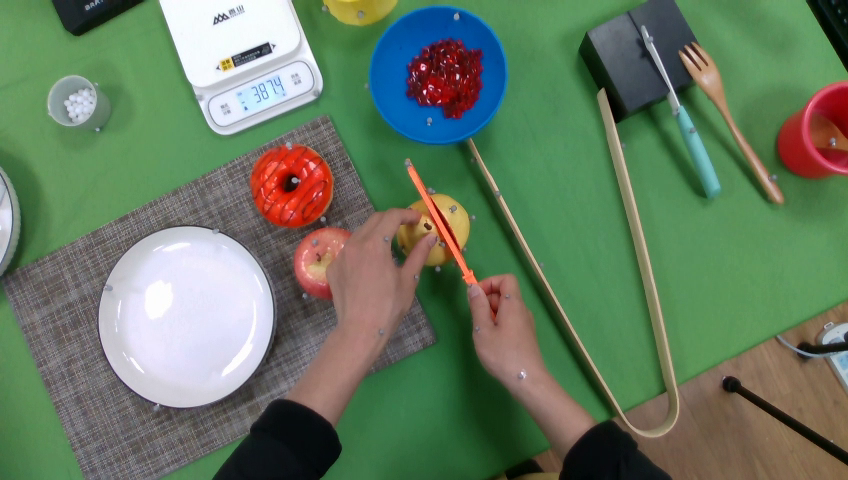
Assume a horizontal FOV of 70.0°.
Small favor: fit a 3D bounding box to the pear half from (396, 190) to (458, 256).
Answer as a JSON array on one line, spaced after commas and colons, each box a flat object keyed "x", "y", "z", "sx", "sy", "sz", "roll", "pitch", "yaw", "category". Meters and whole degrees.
[{"x": -0.004, "y": -0.013, "z": 0.657, "sx": 0.056, "sy": 0.110, "sz": 0.076, "roll": -42, "pitch": 80, "yaw": 8, "category": "pear half"}]

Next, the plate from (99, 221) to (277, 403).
[{"x": -0.269, "y": 0.082, "z": 0.704, "sx": 0.209, "sy": 0.038, "sz": 0.208, "roll": 0, "pitch": 87, "yaw": 4, "category": "plate"}]

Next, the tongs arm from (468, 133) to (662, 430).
[{"x": 0.156, "y": 0.041, "z": 0.683, "sx": 0.051, "sy": 0.026, "sz": 0.384, "roll": -26, "pitch": 86, "yaw": -1, "category": "tongs arm"}]

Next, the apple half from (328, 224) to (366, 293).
[{"x": -0.080, "y": 0.023, "z": 0.676, "sx": 0.033, "sy": 0.081, "sz": 0.081, "roll": 7, "pitch": 87, "yaw": 8, "category": "apple half"}]

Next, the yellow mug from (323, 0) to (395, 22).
[{"x": -0.094, "y": -0.323, "z": 0.704, "sx": 0.130, "sy": 0.064, "sz": 0.100, "roll": 31, "pitch": 90, "yaw": 6, "category": "yellow mug"}]

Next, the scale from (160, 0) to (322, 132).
[{"x": -0.221, "y": -0.245, "z": 0.726, "sx": 0.148, "sy": 0.031, "sz": 0.200, "roll": -22, "pitch": 86, "yaw": 3, "category": "scale"}]

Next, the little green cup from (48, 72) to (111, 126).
[{"x": -0.414, "y": -0.167, "z": 0.732, "sx": 0.061, "sy": 0.039, "sz": 0.061, "roll": 0, "pitch": 86, "yaw": 5, "category": "little green cup"}]

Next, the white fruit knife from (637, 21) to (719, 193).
[{"x": 0.277, "y": -0.143, "z": 0.663, "sx": 0.016, "sy": 0.027, "sz": 0.208, "roll": -29, "pitch": 100, "yaw": 2, "category": "white fruit knife"}]

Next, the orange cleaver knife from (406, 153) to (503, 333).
[{"x": 0.031, "y": 0.001, "z": 0.650, "sx": 0.012, "sy": 0.077, "sz": 0.212, "roll": -28, "pitch": 98, "yaw": 7, "category": "orange cleaver knife"}]

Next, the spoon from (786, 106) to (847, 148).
[{"x": 0.451, "y": -0.087, "z": 0.616, "sx": 0.041, "sy": 0.022, "sz": 0.191, "roll": -32, "pitch": 41, "yaw": 1, "category": "spoon"}]

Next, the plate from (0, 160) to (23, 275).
[{"x": -0.582, "y": -0.024, "z": 0.735, "sx": 0.207, "sy": 0.039, "sz": 0.207, "roll": 0, "pitch": 87, "yaw": 4, "category": "plate"}]

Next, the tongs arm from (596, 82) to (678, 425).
[{"x": 0.236, "y": 0.011, "z": 0.681, "sx": 0.028, "sy": 0.028, "sz": 0.386, "roll": -11, "pitch": 87, "yaw": -3, "category": "tongs arm"}]

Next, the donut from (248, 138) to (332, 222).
[{"x": -0.155, "y": -0.069, "z": 0.702, "sx": 0.099, "sy": 0.048, "sz": 0.099, "roll": 0, "pitch": 88, "yaw": 5, "category": "donut"}]

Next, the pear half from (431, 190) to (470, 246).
[{"x": 0.032, "y": -0.030, "z": 0.670, "sx": 0.031, "sy": 0.088, "sz": 0.070, "roll": -37, "pitch": 82, "yaw": -6, "category": "pear half"}]

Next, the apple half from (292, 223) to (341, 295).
[{"x": -0.119, "y": 0.019, "z": 0.680, "sx": 0.053, "sy": 0.075, "sz": 0.081, "roll": 8, "pitch": 90, "yaw": 8, "category": "apple half"}]

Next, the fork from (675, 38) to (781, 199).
[{"x": 0.338, "y": -0.130, "z": 0.666, "sx": 0.028, "sy": 0.018, "sz": 0.208, "roll": -36, "pitch": 100, "yaw": -1, "category": "fork"}]

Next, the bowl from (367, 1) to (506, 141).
[{"x": 0.016, "y": -0.179, "z": 0.684, "sx": 0.151, "sy": 0.077, "sz": 0.151, "roll": 0, "pitch": 87, "yaw": 4, "category": "bowl"}]
